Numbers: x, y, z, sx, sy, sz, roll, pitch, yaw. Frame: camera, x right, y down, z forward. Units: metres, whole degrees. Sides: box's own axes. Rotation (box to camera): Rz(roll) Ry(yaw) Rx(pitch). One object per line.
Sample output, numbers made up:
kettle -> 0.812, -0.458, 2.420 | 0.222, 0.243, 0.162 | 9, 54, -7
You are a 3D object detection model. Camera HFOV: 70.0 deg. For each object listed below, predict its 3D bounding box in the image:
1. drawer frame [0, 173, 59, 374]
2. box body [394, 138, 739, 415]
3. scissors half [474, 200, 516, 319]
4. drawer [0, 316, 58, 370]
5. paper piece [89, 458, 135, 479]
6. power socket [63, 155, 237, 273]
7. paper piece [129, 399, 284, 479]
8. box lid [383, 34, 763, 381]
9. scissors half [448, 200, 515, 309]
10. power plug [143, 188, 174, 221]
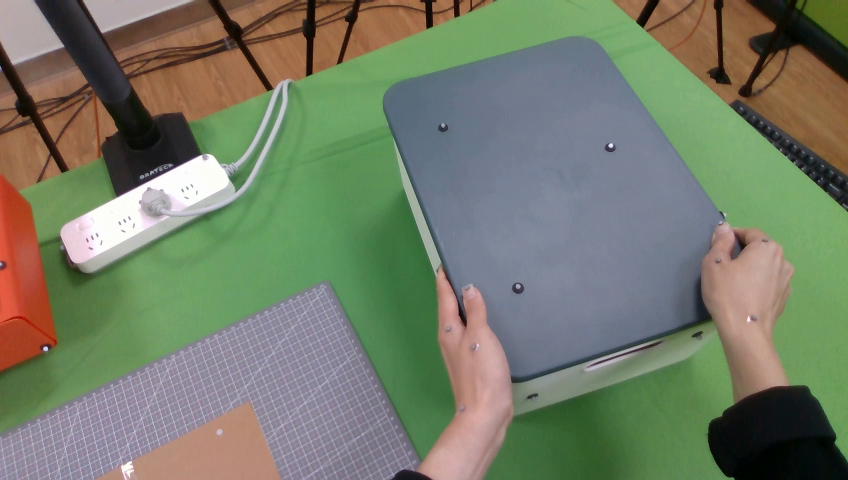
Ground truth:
drawer frame -> -0.522, 0.057, 0.647 | 0.202, 0.083, 0.211 | -25, 59, -11
box body -> 0.129, -0.020, 0.663 | 0.254, 0.162, 0.360 | -17, 59, -7
scissors half -> 0.093, 0.018, 0.725 | 0.040, 0.013, 0.174 | 16, 57, -1
drawer -> -0.520, 0.058, 0.646 | 0.194, 0.074, 0.209 | -25, 59, -11
paper piece -> -0.329, 0.304, 0.577 | 0.136, 0.009, 0.137 | -27, 62, -10
power socket -> -0.347, -0.036, 0.776 | 0.227, 0.033, 0.071 | -31, 62, -15
paper piece -> -0.213, 0.246, 0.605 | 0.135, 0.004, 0.134 | -25, 60, -12
box lid -> 0.126, -0.059, 0.599 | 0.263, 0.015, 0.367 | -17, 59, -7
scissors half -> 0.074, 0.011, 0.727 | 0.040, 0.013, 0.174 | 27, 57, 13
power plug -> -0.324, -0.033, 0.746 | 0.035, 0.053, 0.072 | -22, 60, -11
